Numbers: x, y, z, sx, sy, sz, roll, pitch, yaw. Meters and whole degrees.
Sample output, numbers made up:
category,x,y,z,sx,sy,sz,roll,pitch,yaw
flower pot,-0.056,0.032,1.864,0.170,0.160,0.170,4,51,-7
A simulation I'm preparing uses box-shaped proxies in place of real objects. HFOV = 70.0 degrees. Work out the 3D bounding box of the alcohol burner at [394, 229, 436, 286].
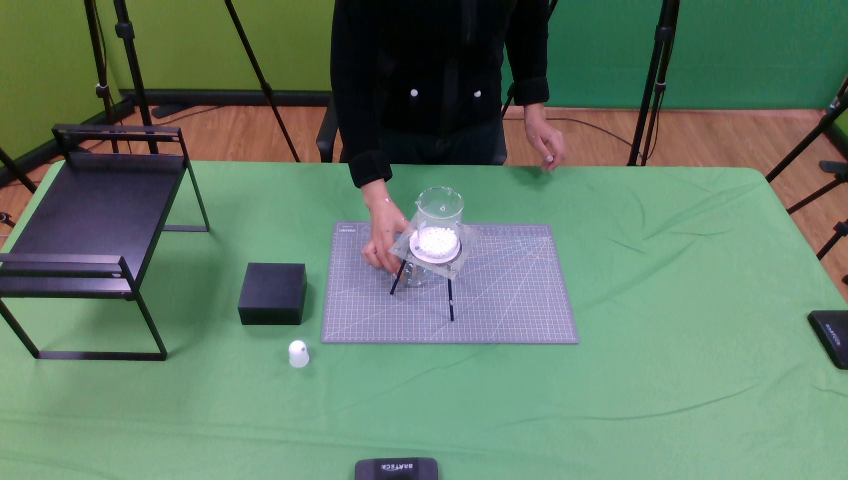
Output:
category,x,y,z,sx,sy,sz,roll,pitch,yaw
alcohol burner,-0.015,0.027,1.098,0.078,0.119,0.077,2,45,-2

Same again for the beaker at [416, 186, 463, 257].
category,x,y,z,sx,sy,sz,roll,pitch,yaw
beaker,0.024,-0.029,0.984,0.074,0.101,0.083,19,48,14

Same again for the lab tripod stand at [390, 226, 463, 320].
category,x,y,z,sx,sy,sz,roll,pitch,yaw
lab tripod stand,0.014,0.053,1.063,0.148,0.132,0.147,1,48,-1

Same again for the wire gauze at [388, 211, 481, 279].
category,x,y,z,sx,sy,sz,roll,pitch,yaw
wire gauze,0.018,0.003,1.020,0.125,0.011,0.121,20,47,18

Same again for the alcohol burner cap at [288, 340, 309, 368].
category,x,y,z,sx,sy,sz,roll,pitch,yaw
alcohol burner cap,-0.207,0.183,0.991,0.034,0.048,0.033,3,47,-3
